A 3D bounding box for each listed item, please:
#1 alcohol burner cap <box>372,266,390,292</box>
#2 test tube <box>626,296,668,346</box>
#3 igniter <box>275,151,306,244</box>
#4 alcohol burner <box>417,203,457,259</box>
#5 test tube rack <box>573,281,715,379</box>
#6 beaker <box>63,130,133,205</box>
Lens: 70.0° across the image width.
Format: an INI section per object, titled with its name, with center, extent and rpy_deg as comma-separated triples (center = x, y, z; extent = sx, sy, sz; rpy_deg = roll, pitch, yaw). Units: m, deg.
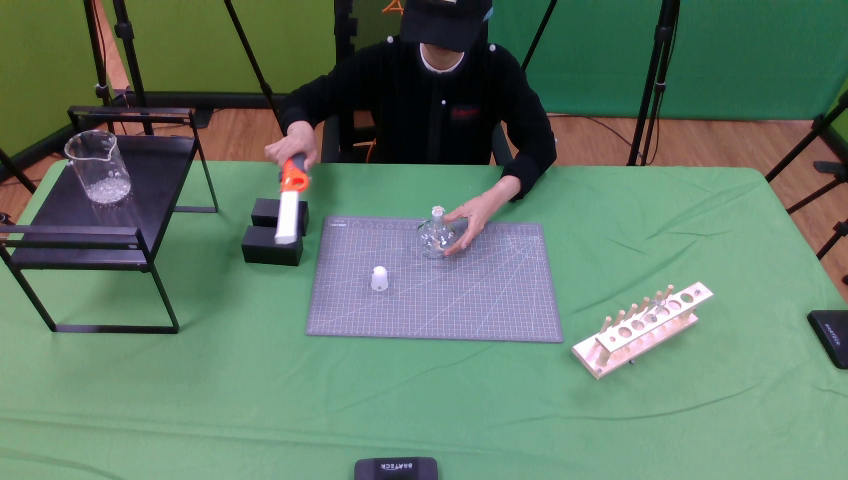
[alcohol burner cap]
center = -0.080, 0.069, 1.104
extent = 0.034, 0.048, 0.033
rpy_deg = 1, 46, 0
[test tube]
center = 0.352, 0.133, 0.970
extent = 0.017, 0.151, 0.017
rpy_deg = 3, 54, -4
[igniter]
center = -0.251, -0.089, 1.134
extent = 0.057, 0.025, 0.274
rpy_deg = -3, 41, -5
[alcohol burner]
center = 0.025, -0.022, 1.150
extent = 0.078, 0.120, 0.077
rpy_deg = 1, 45, 0
[test tube rack]
center = 0.378, 0.140, 1.038
extent = 0.242, 0.085, 0.066
rpy_deg = -22, 51, -23
[beaker]
center = -0.511, -0.112, 0.964
extent = 0.083, 0.101, 0.074
rpy_deg = 31, 52, 23
